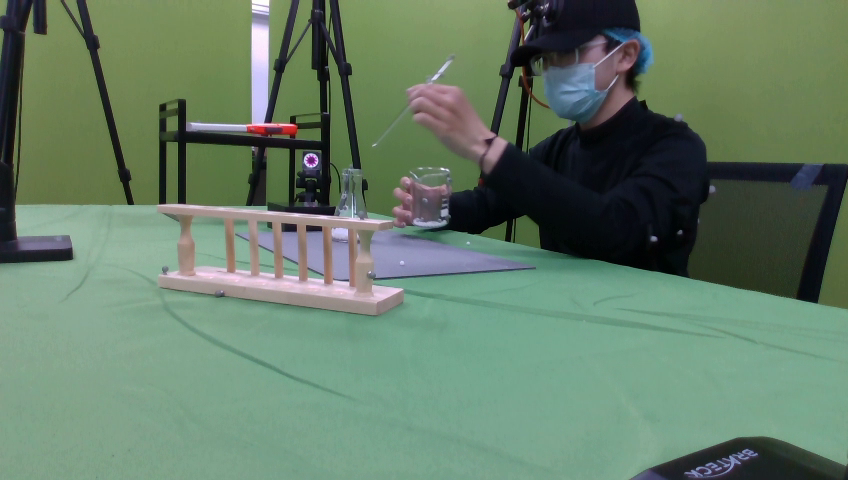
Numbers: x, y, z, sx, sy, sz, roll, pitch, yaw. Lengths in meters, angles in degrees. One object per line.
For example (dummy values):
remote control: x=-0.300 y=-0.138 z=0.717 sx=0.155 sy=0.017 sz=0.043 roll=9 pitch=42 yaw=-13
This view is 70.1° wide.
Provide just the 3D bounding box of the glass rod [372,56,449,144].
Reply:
glass rod: x=-0.024 y=-0.219 z=0.962 sx=0.008 sy=0.008 sz=0.199 roll=-7 pitch=-29 yaw=-51

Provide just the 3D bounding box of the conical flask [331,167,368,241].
conical flask: x=-0.123 y=-0.061 z=1.019 sx=0.075 sy=0.122 sz=0.075 roll=2 pitch=7 yaw=0

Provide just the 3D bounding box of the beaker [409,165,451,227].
beaker: x=0.009 y=-0.078 z=1.078 sx=0.074 sy=0.100 sz=0.084 roll=7 pitch=19 yaw=25

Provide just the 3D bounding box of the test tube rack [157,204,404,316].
test tube rack: x=-0.143 y=0.013 z=0.599 sx=0.242 sy=0.085 sz=0.067 roll=5 pitch=8 yaw=19

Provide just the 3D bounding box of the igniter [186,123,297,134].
igniter: x=-0.393 y=-0.248 z=1.341 sx=0.057 sy=0.025 sz=0.278 roll=9 pitch=14 yaw=38
